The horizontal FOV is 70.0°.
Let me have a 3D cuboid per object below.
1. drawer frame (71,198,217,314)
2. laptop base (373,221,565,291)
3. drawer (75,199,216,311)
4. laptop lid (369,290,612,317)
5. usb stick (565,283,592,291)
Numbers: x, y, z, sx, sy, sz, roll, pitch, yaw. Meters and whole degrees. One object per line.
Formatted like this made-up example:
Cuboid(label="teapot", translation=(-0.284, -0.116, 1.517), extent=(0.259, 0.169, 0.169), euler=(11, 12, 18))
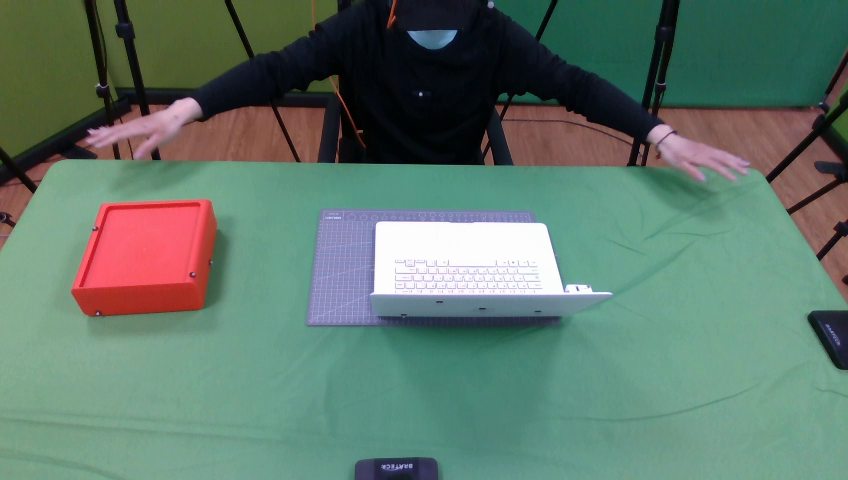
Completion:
Cuboid(label="drawer frame", translation=(-0.493, 0.023, 1.096), extent=(0.202, 0.083, 0.212), euler=(-3, 47, -8))
Cuboid(label="laptop base", translation=(0.080, 0.049, 1.158), extent=(0.355, 0.023, 0.234), euler=(0, 43, -4))
Cuboid(label="drawer", translation=(-0.494, 0.023, 1.098), extent=(0.195, 0.073, 0.210), euler=(-2, 47, -8))
Cuboid(label="laptop lid", translation=(0.091, 0.104, 0.965), extent=(0.357, 0.242, 0.013), euler=(1, 75, -5))
Cuboid(label="usb stick", translation=(0.276, 0.095, 1.113), extent=(0.059, 0.027, 0.021), euler=(-1, 47, -6))
